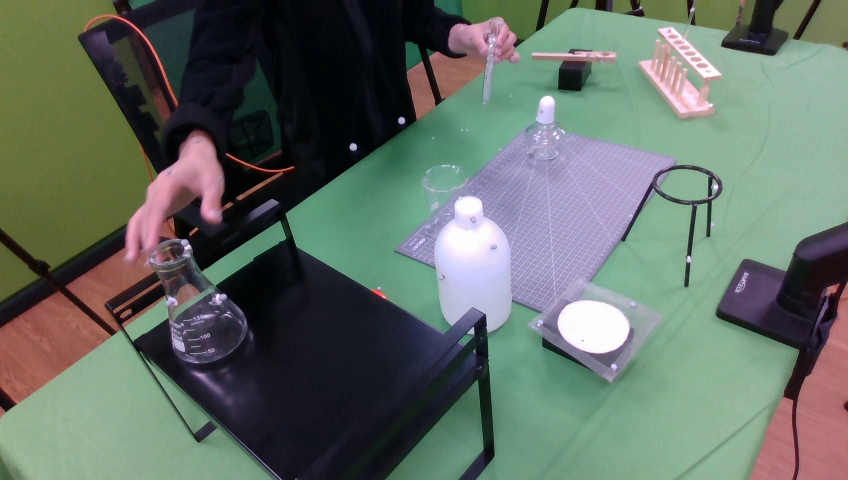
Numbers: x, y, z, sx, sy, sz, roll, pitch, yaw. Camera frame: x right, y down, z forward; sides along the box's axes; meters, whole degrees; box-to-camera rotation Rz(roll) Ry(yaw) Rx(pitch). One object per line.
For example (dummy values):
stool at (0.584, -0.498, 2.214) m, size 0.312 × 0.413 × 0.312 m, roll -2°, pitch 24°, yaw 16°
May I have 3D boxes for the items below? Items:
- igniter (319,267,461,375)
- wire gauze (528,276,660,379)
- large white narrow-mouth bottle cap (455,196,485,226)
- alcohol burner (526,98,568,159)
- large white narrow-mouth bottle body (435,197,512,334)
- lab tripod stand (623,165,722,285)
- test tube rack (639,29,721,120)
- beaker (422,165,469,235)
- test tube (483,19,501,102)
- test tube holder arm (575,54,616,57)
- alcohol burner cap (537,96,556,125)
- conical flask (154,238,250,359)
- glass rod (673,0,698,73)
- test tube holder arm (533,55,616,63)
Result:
igniter at (-0.060, 0.108, 0.862) m, size 0.274 × 0.025 × 0.057 m, roll 29°, pitch 63°, yaw 35°
wire gauze at (0.214, 0.103, 0.763) m, size 0.124 × 0.011 × 0.122 m, roll 30°, pitch 52°, yaw 35°
large white narrow-mouth bottle cap at (0.057, -0.036, 0.749) m, size 0.038 × 0.024 × 0.037 m, roll -4°, pitch 40°, yaw 4°
alcohol burner at (0.228, -0.210, 1.118) m, size 0.078 × 0.119 × 0.077 m, roll -5°, pitch 43°, yaw 5°
large white narrow-mouth bottle body at (0.066, 0.028, 0.805) m, size 0.102 × 0.195 × 0.101 m, roll -4°, pitch 40°, yaw 4°
lab tripod stand at (0.365, -0.030, 0.874) m, size 0.148 × 0.132 × 0.147 m, roll -6°, pitch 41°, yaw 6°
test tube rack at (0.527, -0.351, 1.262) m, size 0.067 × 0.085 × 0.241 m, roll -8°, pitch 40°, yaw 1°
beaker at (0.041, -0.063, 0.986) m, size 0.073 × 0.101 × 0.084 m, roll 20°, pitch 47°, yaw 29°
test tube at (0.115, -0.305, 1.039) m, size 0.017 × 0.150 × 0.017 m, roll 2°, pitch 44°, yaw -1°
test tube holder arm at (0.373, -0.398, 1.318) m, size 0.087 × 0.015 × 0.010 m, roll 5°, pitch 51°, yaw 16°
alcohol burner cap at (0.223, -0.237, 1.094) m, size 0.034 × 0.048 × 0.033 m, roll 0°, pitch 42°, yaw 1°
conical flask at (-0.225, 0.055, 0.597) m, size 0.075 × 0.122 × 0.075 m, roll -5°, pitch 41°, yaw 5°
glass rod at (0.537, -0.425, 1.244) m, size 0.008 × 0.200 × 0.008 m, roll 0°, pitch 47°, yaw 0°
test tube holder arm at (0.329, -0.398, 1.327) m, size 0.178 × 0.015 × 0.013 m, roll 5°, pitch 51°, yaw 15°
